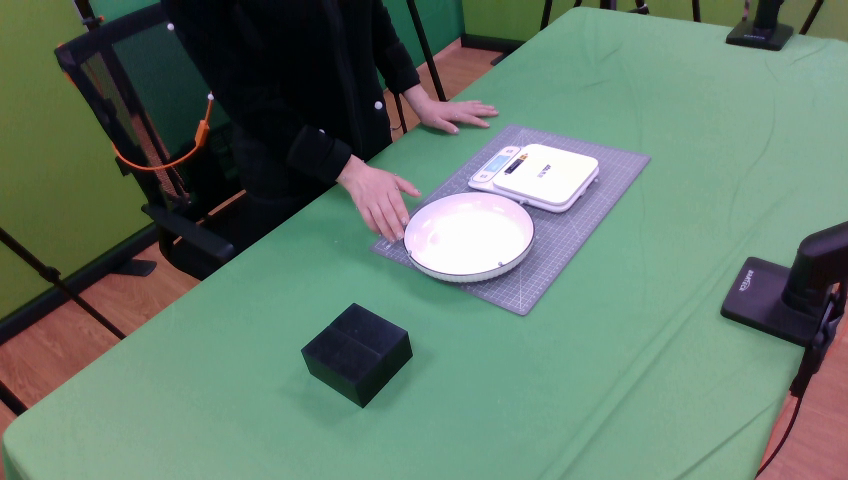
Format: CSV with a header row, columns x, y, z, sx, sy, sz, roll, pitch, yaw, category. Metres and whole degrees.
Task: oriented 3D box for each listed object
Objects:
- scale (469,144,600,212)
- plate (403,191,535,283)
x,y,z,sx,sy,sz,roll,pitch,yaw,category
0.194,-0.117,1.075,0.199,0.032,0.149,21,48,32,scale
0.071,-0.003,0.959,0.209,0.038,0.208,-5,40,5,plate
